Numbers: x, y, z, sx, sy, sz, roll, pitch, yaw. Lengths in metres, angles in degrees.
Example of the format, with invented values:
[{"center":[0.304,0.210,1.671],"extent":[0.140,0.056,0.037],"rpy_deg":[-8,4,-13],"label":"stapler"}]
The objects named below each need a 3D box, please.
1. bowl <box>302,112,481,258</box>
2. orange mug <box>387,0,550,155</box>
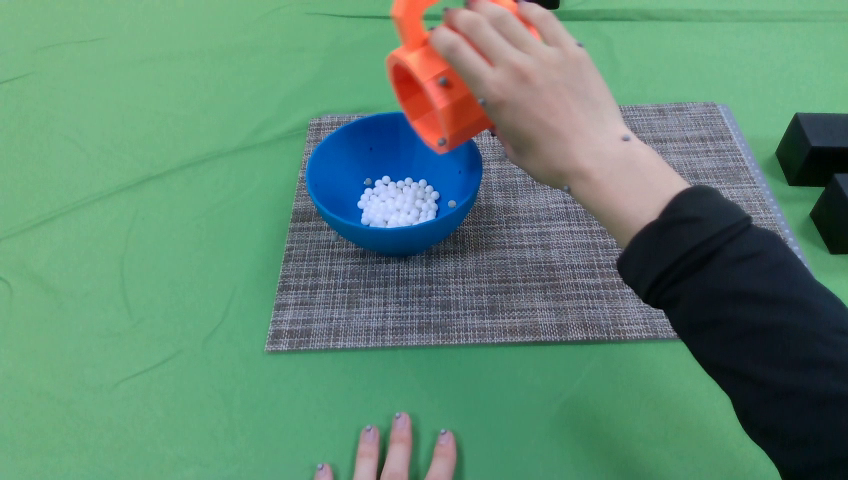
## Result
[{"center":[-0.026,-0.037,0.536],"extent":[0.151,0.077,0.150],"rpy_deg":[-2,48,2],"label":"bowl"},{"center":[0.028,-0.139,0.464],"extent":[0.101,0.127,0.082],"rpy_deg":[-34,41,-10],"label":"orange mug"}]
